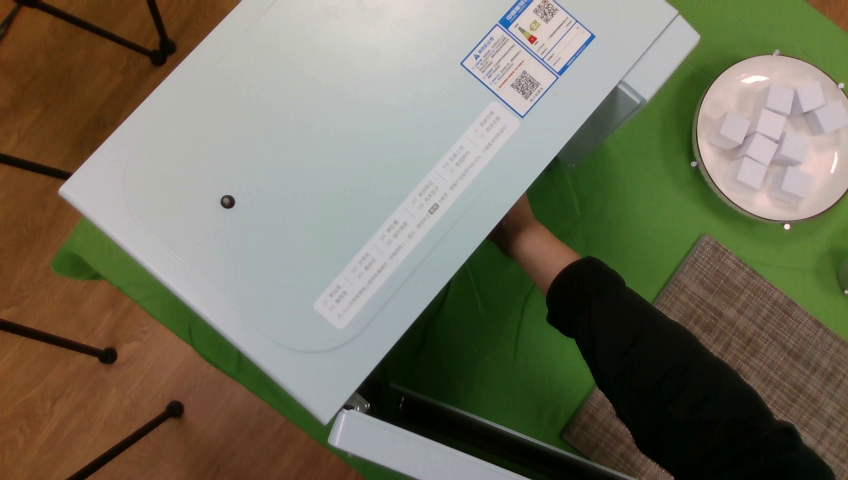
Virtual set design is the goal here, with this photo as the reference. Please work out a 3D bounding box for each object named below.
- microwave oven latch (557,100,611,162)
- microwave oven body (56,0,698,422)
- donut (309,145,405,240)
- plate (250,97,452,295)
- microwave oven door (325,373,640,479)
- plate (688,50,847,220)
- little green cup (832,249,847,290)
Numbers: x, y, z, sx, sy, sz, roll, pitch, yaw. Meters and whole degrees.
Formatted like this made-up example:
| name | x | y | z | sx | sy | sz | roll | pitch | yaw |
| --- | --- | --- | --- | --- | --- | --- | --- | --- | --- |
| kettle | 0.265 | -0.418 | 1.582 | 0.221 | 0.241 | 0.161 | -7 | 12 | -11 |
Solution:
| name | x | y | z | sx | sy | sz | roll | pitch | yaw |
| --- | --- | --- | --- | --- | --- | --- | --- | --- | --- |
| microwave oven latch | 0.182 | -0.130 | 0.707 | 0.030 | 0.029 | 0.079 | 43 | 84 | 1 |
| microwave oven body | -0.041 | -0.103 | 0.595 | 0.326 | 0.260 | 0.441 | 41 | 84 | 1 |
| donut | -0.069 | -0.048 | 0.627 | 0.099 | 0.048 | 0.099 | 0 | 86 | -2 |
| plate | -0.075 | -0.045 | 0.639 | 0.209 | 0.038 | 0.208 | 0 | 85 | -3 |
| microwave oven door | 0.089 | 0.213 | 0.566 | 0.356 | 0.244 | 0.039 | 21 | 82 | -1 |
| plate | 0.420 | -0.124 | 0.740 | 0.208 | 0.039 | 0.207 | 0 | 84 | -3 |
| little green cup | 0.530 | 0.035 | 0.730 | 0.061 | 0.038 | 0.061 | 0 | 83 | -3 |
